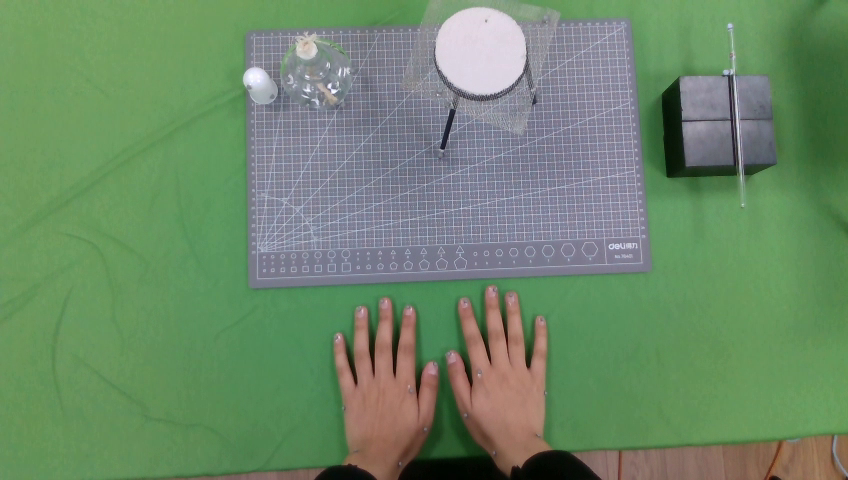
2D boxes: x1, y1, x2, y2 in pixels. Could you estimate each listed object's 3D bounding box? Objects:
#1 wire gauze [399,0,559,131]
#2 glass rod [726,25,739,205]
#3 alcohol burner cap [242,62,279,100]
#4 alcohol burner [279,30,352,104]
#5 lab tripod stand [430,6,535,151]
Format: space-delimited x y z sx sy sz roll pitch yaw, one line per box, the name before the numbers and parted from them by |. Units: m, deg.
wire gauze | 0.052 -0.179 0.567 0.125 0.011 0.121 19 84 1
glass rod | 0.332 -0.136 0.652 0.008 0.008 0.199 1 84 -1
alcohol burner cap | -0.184 -0.179 0.675 0.034 0.048 0.034 0 83 3
alcohol burner | -0.117 -0.189 0.641 0.078 0.119 0.077 0 83 -2
lab tripod stand | 0.055 -0.172 0.633 0.148 0.132 0.148 0 82 -2
